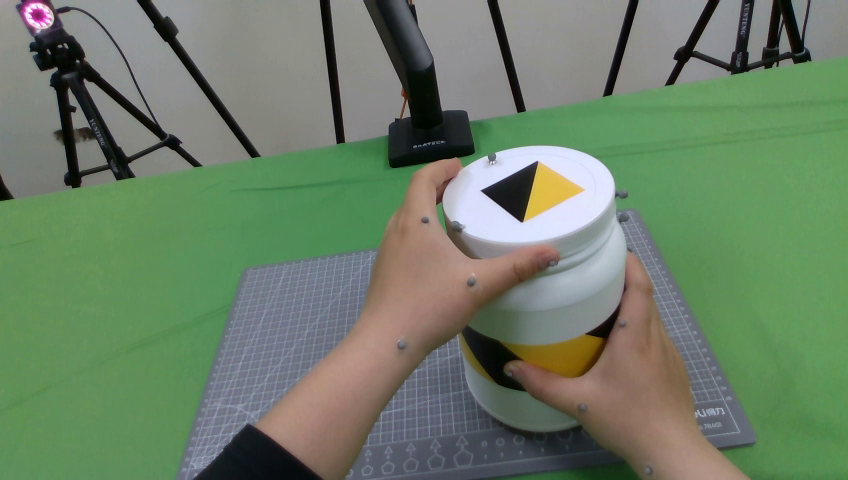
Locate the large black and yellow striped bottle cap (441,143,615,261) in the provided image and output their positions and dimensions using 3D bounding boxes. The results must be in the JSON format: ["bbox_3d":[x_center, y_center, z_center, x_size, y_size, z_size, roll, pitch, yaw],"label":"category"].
[{"bbox_3d":[0.068,-0.029,0.408,0.115,0.019,0.114,-7,39,6],"label":"large black and yellow striped bottle cap"}]

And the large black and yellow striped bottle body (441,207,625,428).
[{"bbox_3d":[0.084,0.038,0.461,0.130,0.186,0.129,-8,38,6],"label":"large black and yellow striped bottle body"}]
